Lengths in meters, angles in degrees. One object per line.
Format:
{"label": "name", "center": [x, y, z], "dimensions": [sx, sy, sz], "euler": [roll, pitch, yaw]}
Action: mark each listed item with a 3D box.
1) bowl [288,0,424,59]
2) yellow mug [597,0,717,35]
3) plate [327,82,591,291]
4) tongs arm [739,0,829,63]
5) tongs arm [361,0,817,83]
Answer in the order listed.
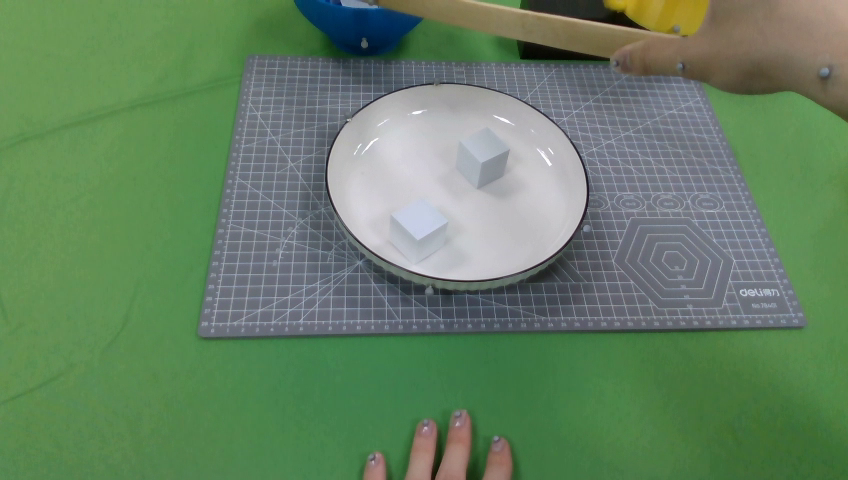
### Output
{"label": "bowl", "center": [-0.061, -0.233, 0.593], "dimensions": [0.151, 0.077, 0.150], "euler": [2, 55, -3]}
{"label": "yellow mug", "center": [0.223, -0.248, 0.573], "dimensions": [0.131, 0.064, 0.099], "euler": [-14, 57, -13]}
{"label": "plate", "center": [0.028, -0.044, 0.490], "dimensions": [0.208, 0.039, 0.205], "euler": [2, 55, -3]}
{"label": "tongs arm", "center": [0.101, -0.211, 0.443], "dimensions": [0.381, 0.027, 0.050], "euler": [35, 74, 35]}
{"label": "tongs arm", "center": [0.058, -0.163, 0.429], "dimensions": [0.384, 0.028, 0.028], "euler": [25, 65, 32]}
